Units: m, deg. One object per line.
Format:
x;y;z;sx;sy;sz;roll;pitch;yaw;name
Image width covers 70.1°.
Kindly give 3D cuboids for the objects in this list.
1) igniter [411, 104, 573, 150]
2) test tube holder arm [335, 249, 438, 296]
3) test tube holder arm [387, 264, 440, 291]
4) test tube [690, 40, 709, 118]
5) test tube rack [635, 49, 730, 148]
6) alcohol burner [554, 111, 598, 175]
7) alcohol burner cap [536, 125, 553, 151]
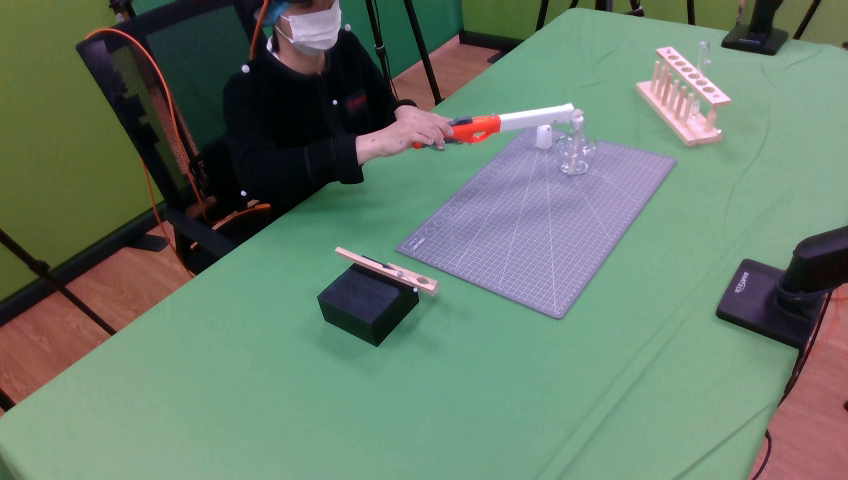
0.114;-0.189;1.003;0.277;0.057;0.025;-11;53;-8;igniter
-0.057;0.044;0.861;0.177;0.015;0.013;18;56;28;test tube holder arm
-0.017;0.052;0.842;0.087;0.015;0.010;18;56;29;test tube holder arm
0.510;-0.295;1.120;0.017;0.151;0.017;-6;39;6;test tube
0.497;-0.283;1.185;0.067;0.085;0.240;-10;40;-2;test tube rack
0.270;-0.175;1.066;0.078;0.119;0.077;-4;42;4;alcohol burner
0.232;-0.199;1.158;0.034;0.048;0.033;-4;40;4;alcohol burner cap
